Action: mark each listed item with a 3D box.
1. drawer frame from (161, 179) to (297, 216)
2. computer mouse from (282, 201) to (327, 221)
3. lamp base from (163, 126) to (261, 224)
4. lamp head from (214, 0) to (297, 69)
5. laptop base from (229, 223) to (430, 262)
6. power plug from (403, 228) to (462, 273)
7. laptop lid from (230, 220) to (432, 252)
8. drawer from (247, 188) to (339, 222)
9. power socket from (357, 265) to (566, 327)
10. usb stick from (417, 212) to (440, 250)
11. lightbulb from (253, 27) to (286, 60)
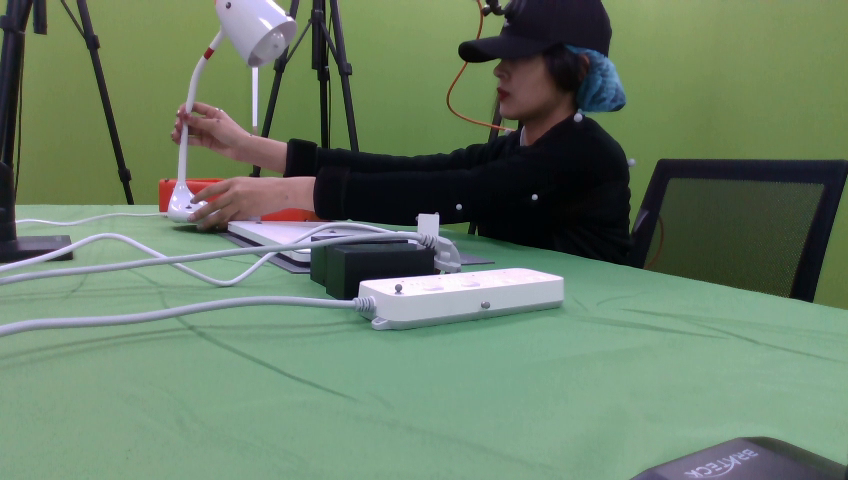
[{"bbox_3d":[-0.421,-0.089,1.329,0.213,0.082,0.202,4,8,16],"label":"drawer frame"},{"bbox_3d":[-0.254,-0.062,1.293,0.063,0.041,0.117,2,2,10],"label":"computer mouse"},{"bbox_3d":[-0.393,-0.119,1.112,0.179,0.180,0.160,0,4,-4],"label":"lamp base"},{"bbox_3d":[-0.299,-0.370,1.035,0.123,0.112,0.112,42,10,0],"label":"lamp head"},{"bbox_3d":[-0.145,0.002,0.943,0.237,0.023,0.352,2,6,-32],"label":"laptop base"},{"bbox_3d":[0.006,0.016,0.647,0.073,0.052,0.035,18,12,-6],"label":"power plug"},{"bbox_3d":[-0.143,-0.009,0.942,0.243,0.013,0.355,1,7,-31],"label":"laptop lid"},{"bbox_3d":[-0.315,-0.079,1.301,0.211,0.073,0.195,4,9,15],"label":"drawer"},{"bbox_3d":[0.041,0.049,0.573,0.228,0.032,0.072,-3,8,-34],"label":"power socket"},{"bbox_3d":[0.005,-0.003,0.721,0.027,0.059,0.021,-1,-4,-2],"label":"usb stick"},{"bbox_3d":[-0.280,-0.356,1.029,0.059,0.107,0.059,-37,-1,0],"label":"lightbulb"}]
